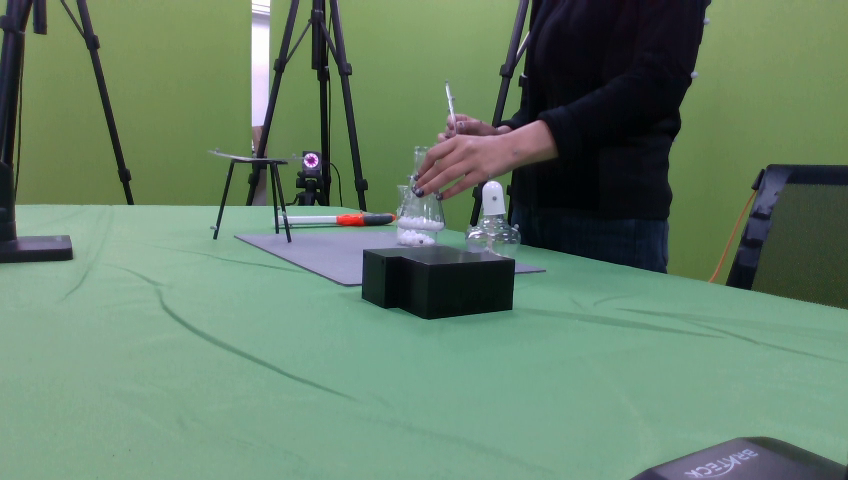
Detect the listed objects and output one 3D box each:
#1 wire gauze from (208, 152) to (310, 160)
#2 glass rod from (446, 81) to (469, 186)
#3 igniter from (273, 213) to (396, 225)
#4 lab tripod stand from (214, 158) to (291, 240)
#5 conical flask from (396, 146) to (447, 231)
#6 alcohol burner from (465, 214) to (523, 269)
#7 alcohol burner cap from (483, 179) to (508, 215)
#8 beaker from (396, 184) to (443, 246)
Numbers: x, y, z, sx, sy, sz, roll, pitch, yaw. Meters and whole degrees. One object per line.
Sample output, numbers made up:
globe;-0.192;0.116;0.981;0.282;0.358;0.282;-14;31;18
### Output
wire gauze;-0.270;-0.135;0.993;0.124;0.011;0.122;8;8;41
glass rod;0.059;-0.191;1.072;0.008;0.199;0.008;-10;-11;-2
igniter;-0.179;-0.044;1.258;0.278;0.025;0.057;-3;-1;-39
lab tripod stand;-0.268;-0.068;1.002;0.148;0.131;0.148;3;6;0
conical flask;0.000;-0.075;0.885;0.075;0.122;0.075;4;4;0
alcohol burner;0.094;-0.022;0.815;0.078;0.119;0.078;0;7;0
alcohol burner cap;0.093;-0.057;0.810;0.034;0.048;0.034;-7;6;1
beaker;-0.011;-0.043;1.004;0.083;0.100;0.074;8;9;39
